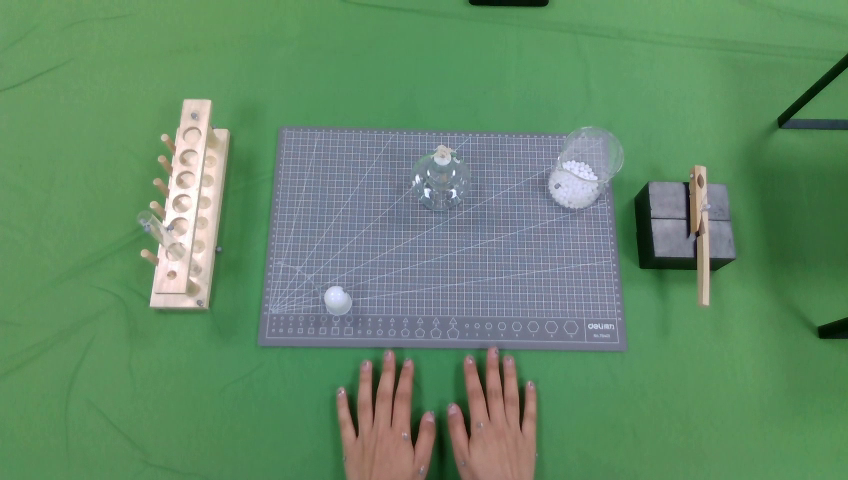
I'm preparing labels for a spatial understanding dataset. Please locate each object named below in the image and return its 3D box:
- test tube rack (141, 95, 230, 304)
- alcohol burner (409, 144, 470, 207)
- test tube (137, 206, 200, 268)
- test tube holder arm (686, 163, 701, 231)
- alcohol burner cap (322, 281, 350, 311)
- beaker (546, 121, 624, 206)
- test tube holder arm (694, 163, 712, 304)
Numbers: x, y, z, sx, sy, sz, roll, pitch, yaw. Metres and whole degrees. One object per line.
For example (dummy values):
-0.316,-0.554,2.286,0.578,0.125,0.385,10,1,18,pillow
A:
-0.295,-0.050,0.739,0.067,0.085,0.241,1,72,-2,test tube rack
0.019,-0.087,0.747,0.078,0.120,0.077,0,72,0,alcohol burner
-0.279,0.000,0.671,0.017,0.151,0.017,0,68,0,test tube
0.335,-0.053,0.752,0.010,0.015,0.087,3,73,1,test tube holder arm
-0.108,0.065,0.729,0.034,0.048,0.033,1,72,-3,alcohol burner cap
0.195,-0.090,0.763,0.084,0.101,0.073,-21,73,-8,beaker
0.339,-0.010,0.739,0.013,0.015,0.177,2,73,0,test tube holder arm
